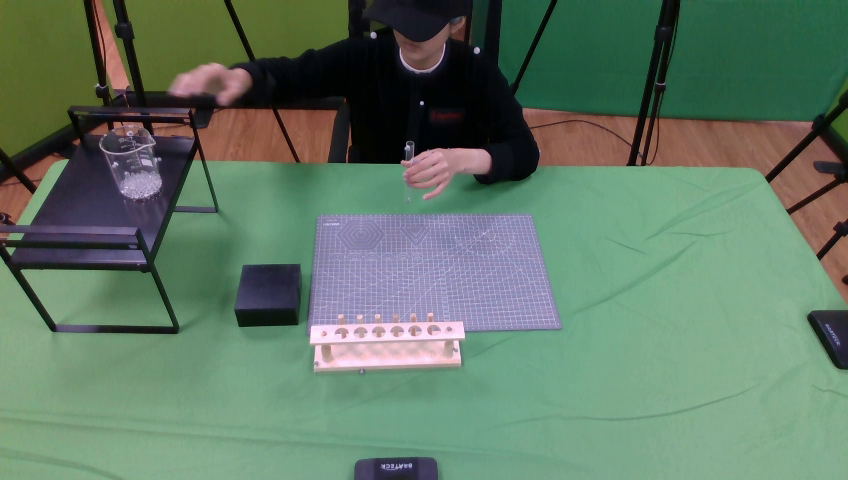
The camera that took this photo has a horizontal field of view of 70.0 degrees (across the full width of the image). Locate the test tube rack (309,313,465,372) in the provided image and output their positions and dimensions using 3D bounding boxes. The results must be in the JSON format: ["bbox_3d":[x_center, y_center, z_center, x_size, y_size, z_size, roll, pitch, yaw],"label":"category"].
[{"bbox_3d":[-0.059,0.161,0.990,0.242,0.085,0.066,-1,46,-5],"label":"test tube rack"}]

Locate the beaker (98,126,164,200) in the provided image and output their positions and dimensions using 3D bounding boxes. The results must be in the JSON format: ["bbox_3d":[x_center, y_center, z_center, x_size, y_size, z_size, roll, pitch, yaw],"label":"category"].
[{"bbox_3d":[-0.464,-0.122,0.977,0.084,0.101,0.073,0,46,-5],"label":"beaker"}]

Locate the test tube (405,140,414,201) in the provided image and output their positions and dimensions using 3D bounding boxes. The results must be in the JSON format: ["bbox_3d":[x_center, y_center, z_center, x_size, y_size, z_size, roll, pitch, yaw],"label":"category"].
[{"bbox_3d":[-0.028,-0.129,1.151,0.017,0.151,0.017,2,50,-2],"label":"test tube"}]
